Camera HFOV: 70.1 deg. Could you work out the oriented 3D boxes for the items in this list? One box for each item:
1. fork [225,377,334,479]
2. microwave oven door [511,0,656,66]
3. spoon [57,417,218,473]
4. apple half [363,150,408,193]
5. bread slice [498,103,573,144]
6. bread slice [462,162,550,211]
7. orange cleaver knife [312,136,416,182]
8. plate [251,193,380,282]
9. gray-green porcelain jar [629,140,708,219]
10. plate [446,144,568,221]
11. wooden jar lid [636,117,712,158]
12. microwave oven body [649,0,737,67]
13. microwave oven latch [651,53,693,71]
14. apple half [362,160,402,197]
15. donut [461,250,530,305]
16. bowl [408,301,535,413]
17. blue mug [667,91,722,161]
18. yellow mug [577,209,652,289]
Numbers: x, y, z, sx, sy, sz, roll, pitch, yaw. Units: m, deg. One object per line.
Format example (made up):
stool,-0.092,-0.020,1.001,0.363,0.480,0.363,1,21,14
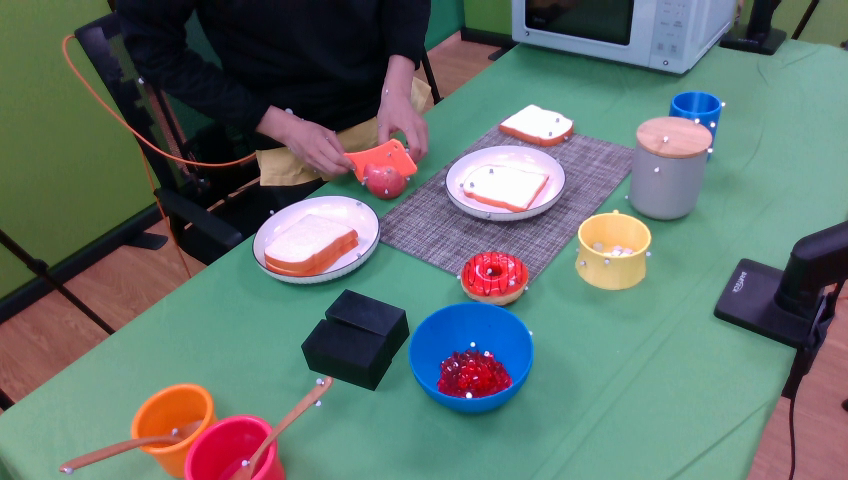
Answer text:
fork,-0.163,0.216,0.646,0.207,0.019,0.028,-49,42,16
microwave oven door,0.351,-0.540,1.349,0.353,0.245,0.039,24,50,31
spoon,-0.304,0.221,0.661,0.041,0.195,0.021,19,92,27
apple half,-0.063,-0.128,1.089,0.080,0.075,0.053,9,38,22
bread slice,0.231,-0.232,1.205,0.105,0.019,0.130,-36,47,-29
bread slice,0.135,-0.094,1.045,0.133,0.018,0.107,15,45,23
orange cleaver knife,-0.109,-0.138,1.070,0.210,0.077,0.012,-2,32,32
plate,-0.174,-0.001,0.984,0.209,0.038,0.208,-4,40,4
gray-green porcelain jar,0.383,-0.105,0.958,0.106,0.127,0.105,-4,41,4
plate,0.142,-0.096,1.045,0.207,0.039,0.206,-4,40,4
wooden jar lid,0.377,-0.151,0.917,0.108,0.021,0.108,-2,42,3
microwave oven body,0.475,-0.602,1.411,0.438,0.261,0.327,23,50,32
microwave oven latch,0.532,-0.386,1.301,0.078,0.029,0.030,27,52,34
apple half,-0.078,-0.100,1.060,0.081,0.081,0.033,10,46,19
donut,0.103,0.053,0.872,0.099,0.048,0.098,-4,40,4
bowl,0.060,0.156,0.739,0.151,0.077,0.150,-4,40,4
blue mug,0.474,-0.207,1.079,0.082,0.106,0.116,4,42,13
yellow mug,0.279,0.004,0.893,0.099,0.064,0.130,5,41,15
